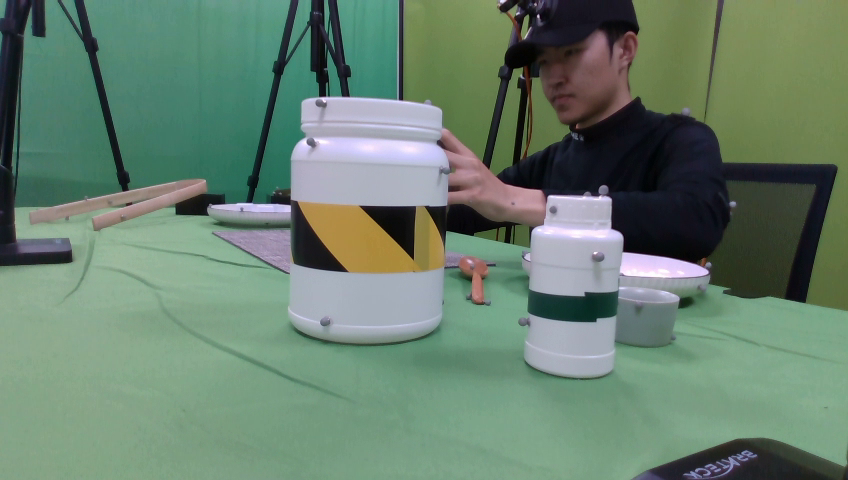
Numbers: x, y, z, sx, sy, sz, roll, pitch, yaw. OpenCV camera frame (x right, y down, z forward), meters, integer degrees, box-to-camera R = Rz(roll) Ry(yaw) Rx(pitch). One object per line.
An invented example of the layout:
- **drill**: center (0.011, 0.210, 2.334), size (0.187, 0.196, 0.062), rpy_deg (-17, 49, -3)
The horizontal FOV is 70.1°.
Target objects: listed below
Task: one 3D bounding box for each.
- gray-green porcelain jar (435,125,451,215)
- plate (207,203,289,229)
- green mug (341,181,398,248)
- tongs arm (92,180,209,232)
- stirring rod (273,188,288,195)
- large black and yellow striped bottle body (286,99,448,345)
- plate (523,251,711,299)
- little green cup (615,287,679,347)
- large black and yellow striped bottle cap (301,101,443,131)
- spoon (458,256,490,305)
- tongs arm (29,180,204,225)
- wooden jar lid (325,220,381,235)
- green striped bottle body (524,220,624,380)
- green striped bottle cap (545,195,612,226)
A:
- **gray-green porcelain jar**: center (-0.015, -0.090, 0.841), size (0.106, 0.126, 0.106), rpy_deg (0, -26, 1)
- **plate**: center (-0.342, -0.050, 1.259), size (0.208, 0.039, 0.207), rpy_deg (2, 7, 0)
- **green mug**: center (-0.090, -0.044, 0.996), size (0.093, 0.105, 0.125), rpy_deg (0, 7, -9)
- **tongs arm**: center (-0.534, -0.076, 1.221), size (0.028, 0.028, 0.388), rpy_deg (-2, 15, 12)
- **stirring rod**: center (-0.354, -0.122, 1.518), size (0.006, 0.014, 0.176), rpy_deg (2, 6, 1)
- **large black and yellow striped bottle body**: center (-0.047, -0.018, 0.501), size (0.131, 0.184, 0.130), rpy_deg (2, 7, 0)
- **plate**: center (0.219, 0.041, 0.706), size (0.209, 0.038, 0.209), rpy_deg (2, 7, 0)
- **little green cup**: center (0.180, 0.064, 0.506), size (0.061, 0.038, 0.061), rpy_deg (2, 8, 0)
- **large black and yellow striped bottle cap**: center (-0.042, -0.100, 0.491), size (0.115, 0.019, 0.115), rpy_deg (1, 8, 0)
- **spoon**: center (0.059, 0.044, 0.696), size (0.041, 0.021, 0.194), rpy_deg (18, 8, 1)
- **tongs arm**: center (-0.609, -0.083, 1.245), size (0.050, 0.026, 0.386), rpy_deg (5, 16, 23)
- **wooden jar lid**: center (-0.136, -0.025, 1.162), size (0.108, 0.020, 0.108), rpy_deg (3, 8, 0)
- **green striped bottle body**: center (0.104, 0.031, 0.422), size (0.063, 0.119, 0.063), rpy_deg (2, 8, 0)
- **green striped bottle cap**: center (0.106, -0.020, 0.414), size (0.044, 0.020, 0.044), rpy_deg (2, 4, 0)
